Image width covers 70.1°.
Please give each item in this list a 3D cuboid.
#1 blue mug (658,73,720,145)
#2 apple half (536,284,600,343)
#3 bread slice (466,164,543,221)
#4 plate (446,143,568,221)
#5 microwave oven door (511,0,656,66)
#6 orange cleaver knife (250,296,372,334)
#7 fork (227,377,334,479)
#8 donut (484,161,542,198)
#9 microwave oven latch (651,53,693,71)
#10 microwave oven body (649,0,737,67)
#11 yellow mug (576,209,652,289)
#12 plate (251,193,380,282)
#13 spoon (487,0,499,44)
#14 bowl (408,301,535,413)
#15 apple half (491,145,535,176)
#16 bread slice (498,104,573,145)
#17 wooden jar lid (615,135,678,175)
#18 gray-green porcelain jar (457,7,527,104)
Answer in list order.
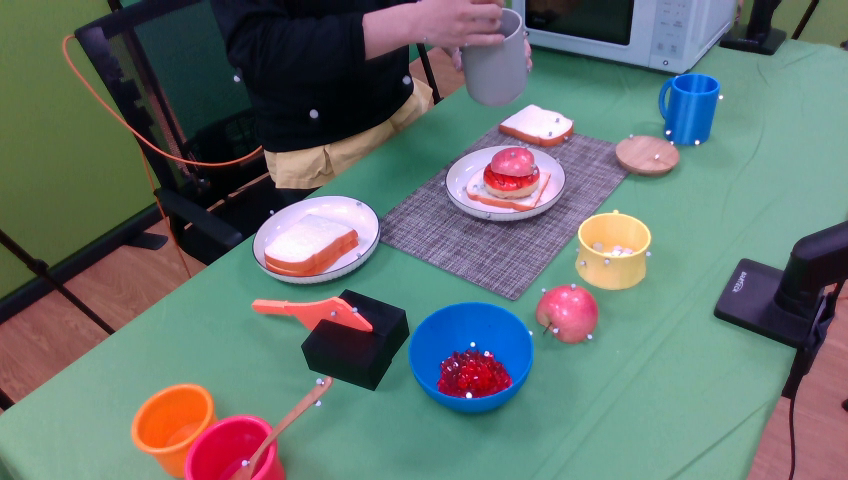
[{"bbox_3d":[0.483,-0.250,1.127,0.082,0.106,0.115,-26,44,-19],"label":"blue mug"},{"bbox_3d":[0.196,0.091,0.815,0.075,0.053,0.080,-22,42,-20],"label":"apple half"},{"bbox_3d":[0.141,-0.086,1.050,0.134,0.018,0.107,16,47,13],"label":"bread slice"},{"bbox_3d":[0.142,-0.097,1.045,0.207,0.039,0.206,-4,40,4],"label":"plate"},{"bbox_3d":[0.351,-0.540,1.349,0.353,0.245,0.039,24,50,31],"label":"microwave oven door"},{"bbox_3d":[-0.158,0.103,0.828,0.210,0.078,0.012,-4,43,39],"label":"orange cleaver knife"},{"bbox_3d":[-0.162,0.216,0.647,0.207,0.019,0.028,-49,41,16],"label":"fork"},{"bbox_3d":[0.149,-0.109,1.016,0.099,0.048,0.098,-4,40,4],"label":"donut"},{"bbox_3d":[0.532,-0.386,1.301,0.078,0.029,0.030,27,52,34],"label":"microwave oven latch"},{"bbox_3d":[0.475,-0.602,1.411,0.438,0.261,0.327,23,50,32],"label":"microwave oven body"},{"bbox_3d":[0.279,0.004,0.893,0.099,0.064,0.130,5,42,14],"label":"yellow mug"},{"bbox_3d":[-0.173,-0.001,0.984,0.209,0.038,0.208,-4,40,4],"label":"plate"},{"bbox_3d":[0.106,-0.328,0.919,0.042,0.194,0.021,-24,50,-22],"label":"spoon"},{"bbox_3d":[0.060,0.156,0.739,0.151,0.077,0.150,-4,40,4],"label":"bowl"},{"bbox_3d":[0.147,-0.138,0.994,0.081,0.033,0.081,0,37,0],"label":"apple half"},{"bbox_3d":[0.231,-0.232,1.205,0.105,0.019,0.130,-36,47,-29],"label":"bread slice"},{"bbox_3d":[0.398,-0.151,1.086,0.108,0.021,0.108,-1,42,2],"label":"wooden jar lid"},{"bbox_3d":[0.114,-0.297,0.994,0.106,0.127,0.105,-7,50,9],"label":"gray-green porcelain jar"}]
